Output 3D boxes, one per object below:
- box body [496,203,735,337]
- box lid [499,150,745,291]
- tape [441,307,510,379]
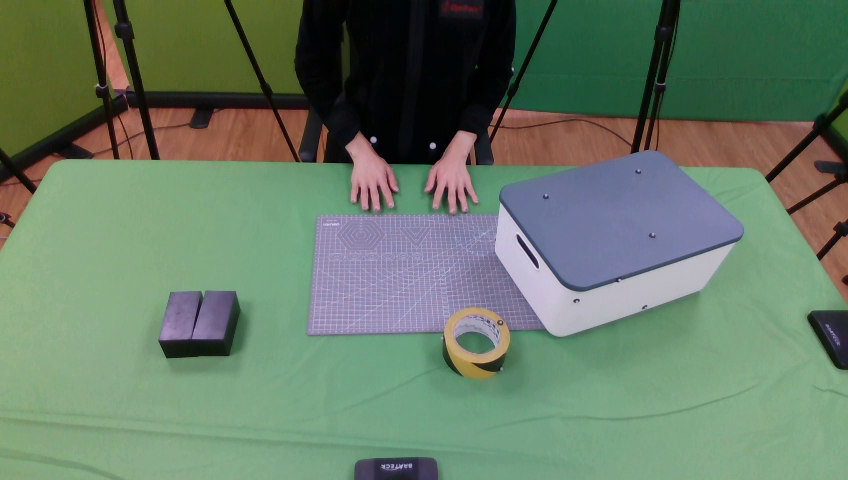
[{"bbox_3d":[0.340,0.003,1.118,0.364,0.161,0.252,-15,49,-18],"label":"box body"},{"bbox_3d":[0.341,-0.049,1.064,0.372,0.015,0.261,-15,48,-18],"label":"box lid"},{"bbox_3d":[0.087,0.172,1.014,0.117,0.053,0.116,2,48,-2],"label":"tape"}]
